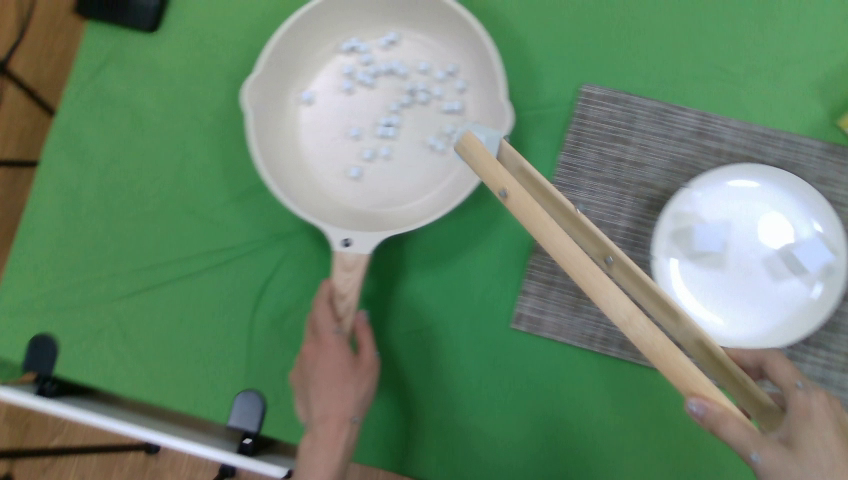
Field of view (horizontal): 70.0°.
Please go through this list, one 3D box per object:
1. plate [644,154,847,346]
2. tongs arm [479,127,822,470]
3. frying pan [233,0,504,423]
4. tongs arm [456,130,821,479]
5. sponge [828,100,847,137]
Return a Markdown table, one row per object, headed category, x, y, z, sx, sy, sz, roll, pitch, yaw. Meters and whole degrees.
| category | x | y | z | sx | sy | sz | roll | pitch | yaw |
| --- | --- | --- | --- | --- | --- | --- | --- | --- | --- |
| plate | 0.346 | 0.012 | 0.667 | 0.207 | 0.039 | 0.207 | -1 | 84 | 5 |
| tongs arm | 0.173 | 0.039 | 0.518 | 0.383 | 0.051 | 0.026 | 46 | 127 | 13 |
| frying pan | -0.077 | -0.047 | 0.678 | 0.306 | 0.103 | 0.485 | 7 | 77 | 6 |
| tongs arm | 0.158 | 0.045 | 0.500 | 0.385 | 0.028 | 0.028 | 48 | 124 | 16 |
| sponge | 0.568 | -0.106 | 0.650 | 0.118 | 0.061 | 0.206 | -41 | 81 | -2 |
